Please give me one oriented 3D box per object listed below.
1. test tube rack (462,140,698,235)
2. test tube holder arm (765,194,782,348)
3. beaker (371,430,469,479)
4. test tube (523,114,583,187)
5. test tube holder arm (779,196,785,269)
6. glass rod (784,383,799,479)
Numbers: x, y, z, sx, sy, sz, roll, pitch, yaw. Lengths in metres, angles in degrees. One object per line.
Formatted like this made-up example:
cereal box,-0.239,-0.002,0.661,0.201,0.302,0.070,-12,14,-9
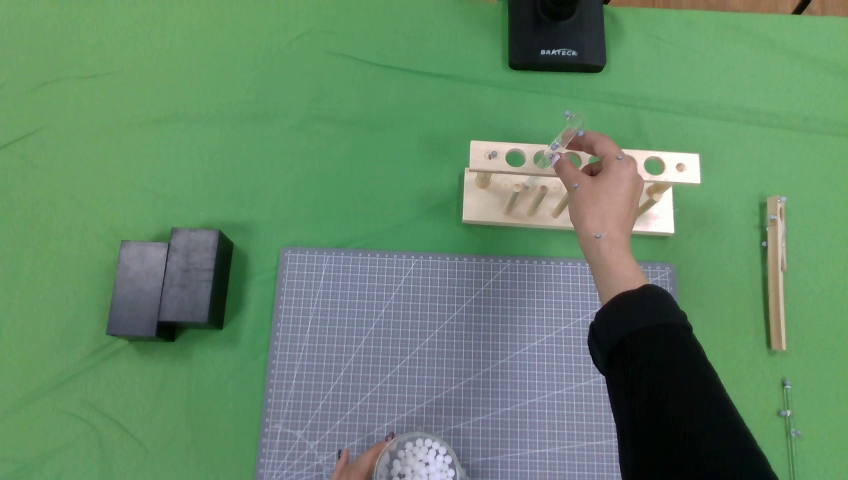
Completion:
test tube rack,0.167,-0.056,0.674,0.242,0.085,0.066,3,74,0
test tube holder arm,0.397,0.033,0.686,0.013,0.015,0.177,17,73,-28
beaker,-0.001,0.216,0.561,0.084,0.101,0.073,6,73,4
test tube,0.131,-0.088,0.631,0.017,0.151,0.017,2,72,-7
test tube holder arm,0.408,-0.008,0.701,0.010,0.015,0.087,18,72,-28
glass rod,0.388,0.251,0.632,0.008,0.008,0.198,4,74,0
